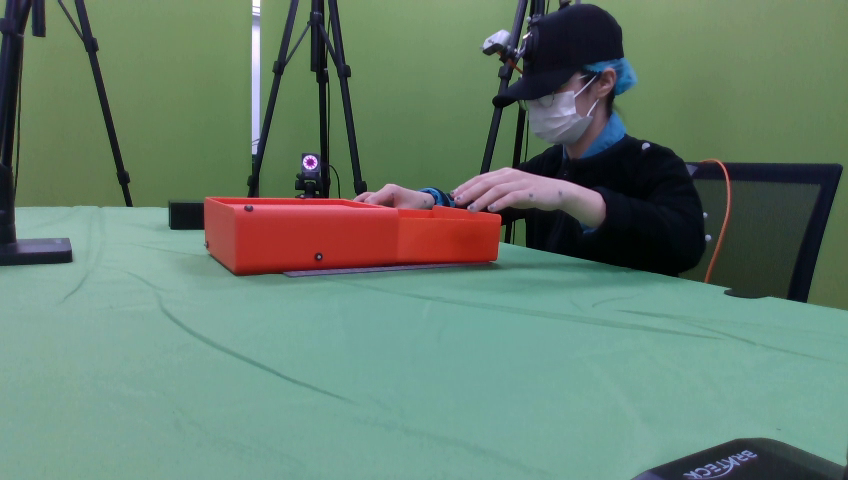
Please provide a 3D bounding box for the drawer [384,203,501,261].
[{"bbox_3d":[-0.025,-0.016,0.913,0.213,0.073,0.193,-1,9,-31],"label":"drawer"}]

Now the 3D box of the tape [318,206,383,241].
[{"bbox_3d":[-0.129,-0.030,1.075,0.117,0.052,0.117,3,8,0],"label":"tape"}]

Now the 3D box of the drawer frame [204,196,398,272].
[{"bbox_3d":[-0.172,-0.016,0.828,0.215,0.082,0.200,-3,9,-30],"label":"drawer frame"}]
